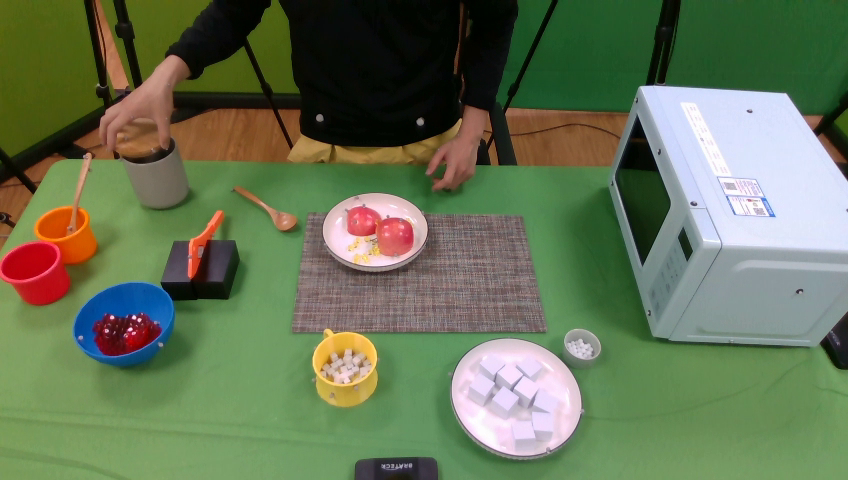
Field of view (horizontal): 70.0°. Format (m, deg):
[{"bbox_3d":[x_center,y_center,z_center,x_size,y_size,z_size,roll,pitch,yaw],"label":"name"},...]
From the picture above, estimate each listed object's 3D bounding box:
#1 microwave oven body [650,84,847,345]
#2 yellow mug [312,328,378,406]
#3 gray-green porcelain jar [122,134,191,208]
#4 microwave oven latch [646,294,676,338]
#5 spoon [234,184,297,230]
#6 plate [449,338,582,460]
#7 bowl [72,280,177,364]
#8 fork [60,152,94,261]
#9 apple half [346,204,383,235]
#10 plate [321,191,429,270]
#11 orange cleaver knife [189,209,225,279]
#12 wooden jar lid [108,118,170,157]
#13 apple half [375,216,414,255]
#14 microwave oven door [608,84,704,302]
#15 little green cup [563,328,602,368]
[{"bbox_3d":[0.569,-0.054,1.116,0.326,0.261,0.439,2,46,-1],"label":"microwave oven body"},{"bbox_3d":[-0.132,0.193,0.971,0.100,0.064,0.130,-22,51,-22],"label":"yellow mug"},{"bbox_3d":[-0.531,-0.137,1.213,0.106,0.127,0.105,2,46,-2],"label":"gray-green porcelain jar"},{"bbox_3d":[0.413,0.133,1.061,0.030,0.029,0.078,4,46,1],"label":"microwave oven latch"},{"bbox_3d":[-0.327,-0.073,1.239,0.193,0.022,0.041,34,70,25],"label":"spoon"},{"bbox_3d":[0.141,0.251,0.956,0.208,0.039,0.206,2,46,-2],"label":"plate"},{"bbox_3d":[-0.473,0.147,0.982,0.151,0.077,0.150,2,46,-2],"label":"bowl"},{"bbox_3d":[-0.638,-0.063,1.119,0.028,0.018,0.207,12,90,7],"label":"fork"},{"bbox_3d":[-0.119,-0.049,1.207,0.081,0.033,0.081,2,50,-2],"label":"apple half"},{"bbox_3d":[-0.094,-0.015,1.185,0.209,0.038,0.208,2,46,-2],"label":"plate"},{"bbox_3d":[-0.401,0.002,1.122,0.012,0.077,0.210,4,23,-4],"label":"orange cleaver knife"},{"bbox_3d":[-0.541,-0.194,1.154,0.108,0.021,0.107,5,46,-5],"label":"wooden jar lid"},{"bbox_3d":[-0.056,-0.017,1.169,0.075,0.053,0.080,0,45,-7],"label":"apple half"},{"bbox_3d":[0.424,-0.096,1.138,0.039,0.245,0.353,3,47,-1],"label":"microwave oven door"},{"bbox_3d":[0.266,0.185,1.025,0.061,0.039,0.061,2,45,-2],"label":"little green cup"}]
